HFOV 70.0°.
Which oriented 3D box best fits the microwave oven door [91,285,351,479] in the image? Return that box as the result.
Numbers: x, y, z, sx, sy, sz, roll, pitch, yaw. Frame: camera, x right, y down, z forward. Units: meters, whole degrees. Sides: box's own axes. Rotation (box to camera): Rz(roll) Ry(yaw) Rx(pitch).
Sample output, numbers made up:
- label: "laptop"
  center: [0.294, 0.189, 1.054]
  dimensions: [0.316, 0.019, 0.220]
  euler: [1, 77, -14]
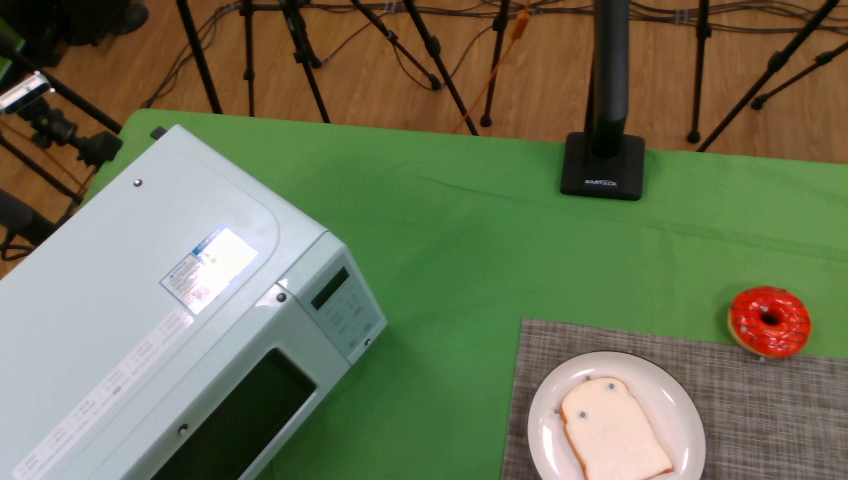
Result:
- label: "microwave oven door"
  center: [-0.241, 0.231, 0.680]
  dimensions: [0.039, 0.246, 0.355]
  euler: [33, 72, 24]

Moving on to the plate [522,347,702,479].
- label: "plate"
  center: [0.224, 0.235, 0.738]
  dimensions: [0.207, 0.039, 0.206]
  euler: [-4, 61, 7]

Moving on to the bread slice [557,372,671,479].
- label: "bread slice"
  center: [0.223, 0.229, 0.742]
  dimensions: [0.105, 0.019, 0.130]
  euler: [-20, 61, -3]

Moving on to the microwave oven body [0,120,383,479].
- label: "microwave oven body"
  center: [-0.324, 0.130, 0.754]
  dimensions: [0.323, 0.262, 0.441]
  euler: [34, 72, 23]

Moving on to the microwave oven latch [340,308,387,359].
- label: "microwave oven latch"
  center: [-0.085, 0.123, 0.831]
  dimensions: [0.030, 0.030, 0.079]
  euler: [35, 73, 24]

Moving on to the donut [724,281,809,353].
- label: "donut"
  center: [0.438, 0.099, 0.776]
  dimensions: [0.099, 0.049, 0.098]
  euler: [-6, 57, 9]
